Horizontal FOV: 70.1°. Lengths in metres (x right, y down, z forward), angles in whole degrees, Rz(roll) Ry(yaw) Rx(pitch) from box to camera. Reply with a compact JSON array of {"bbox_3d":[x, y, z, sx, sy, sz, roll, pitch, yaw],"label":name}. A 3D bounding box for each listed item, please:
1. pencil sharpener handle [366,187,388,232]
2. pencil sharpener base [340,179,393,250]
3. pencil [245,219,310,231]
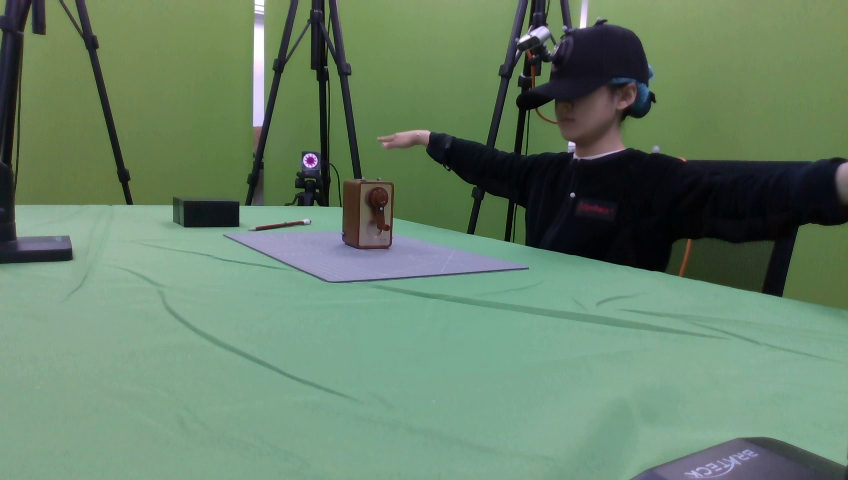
[{"bbox_3d":[-0.065,-0.046,0.915,0.036,0.067,0.030,-8,12,-27],"label":"pencil sharpener handle"},{"bbox_3d":[-0.091,-0.041,0.960,0.061,0.107,0.076,-1,9,-28],"label":"pencil sharpener base"},{"bbox_3d":[-0.285,-0.029,1.191,0.012,0.012,0.195,7,9,25],"label":"pencil"}]
